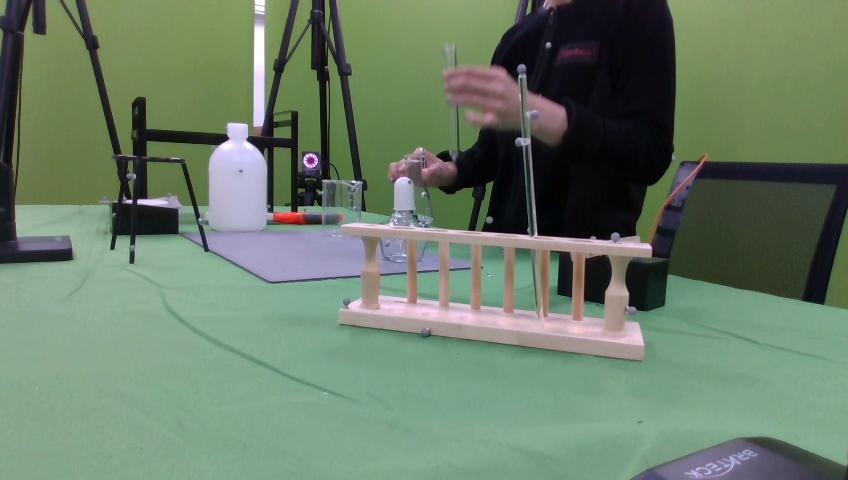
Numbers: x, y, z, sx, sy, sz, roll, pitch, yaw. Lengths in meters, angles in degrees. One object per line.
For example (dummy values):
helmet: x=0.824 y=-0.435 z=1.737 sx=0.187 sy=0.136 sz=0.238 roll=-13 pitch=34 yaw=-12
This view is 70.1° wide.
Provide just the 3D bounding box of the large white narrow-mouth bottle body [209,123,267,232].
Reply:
large white narrow-mouth bottle body: x=-0.340 y=-0.115 z=1.109 sx=0.102 sy=0.194 sz=0.102 roll=2 pitch=8 yaw=0

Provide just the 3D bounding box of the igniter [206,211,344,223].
igniter: x=-0.302 y=-0.048 z=1.249 sx=0.278 sy=0.025 sz=0.057 roll=-2 pitch=-2 yaw=-26

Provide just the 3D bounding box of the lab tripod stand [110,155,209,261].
lab tripod stand: x=-0.361 y=-0.046 z=0.806 sx=0.148 sy=0.131 sz=0.148 roll=2 pitch=5 yaw=0

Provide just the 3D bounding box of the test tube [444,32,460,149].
test tube: x=0.038 y=-0.196 z=0.802 sx=0.017 sy=0.150 sz=0.017 roll=-3 pitch=19 yaw=1

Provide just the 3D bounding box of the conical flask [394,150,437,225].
conical flask: x=-0.015 y=-0.091 z=1.040 sx=0.075 sy=0.122 sz=0.075 roll=0 pitch=16 yaw=0

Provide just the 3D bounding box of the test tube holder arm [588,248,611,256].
test tube holder arm: x=0.180 y=0.007 z=0.611 sx=0.010 sy=0.015 sz=0.088 roll=0 pitch=4 yaw=35

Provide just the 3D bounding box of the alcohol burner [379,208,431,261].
alcohol burner: x=-0.027 y=-0.031 z=0.838 sx=0.078 sy=0.119 sz=0.078 roll=0 pitch=6 yaw=0

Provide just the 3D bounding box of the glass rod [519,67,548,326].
glass rod: x=0.084 y=-0.029 z=0.459 sx=0.008 sy=0.199 sz=0.008 roll=-7 pitch=11 yaw=2

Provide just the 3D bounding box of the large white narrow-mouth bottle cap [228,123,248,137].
large white narrow-mouth bottle cap: x=-0.338 y=-0.199 z=1.097 sx=0.038 sy=0.024 sz=0.037 roll=2 pitch=8 yaw=0

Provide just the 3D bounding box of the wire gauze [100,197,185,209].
wire gauze: x=-0.469 y=-0.062 z=1.008 sx=0.126 sy=0.011 sz=0.121 roll=-2 pitch=8 yaw=-25

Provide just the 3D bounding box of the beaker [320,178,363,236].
beaker: x=-0.145 y=-0.059 z=1.079 sx=0.074 sy=0.100 sz=0.083 roll=-4 pitch=10 yaw=-36

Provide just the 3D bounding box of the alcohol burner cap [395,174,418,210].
alcohol burner cap: x=-0.026 y=-0.067 z=0.833 sx=0.034 sy=0.048 sz=0.034 roll=-2 pitch=12 yaw=1

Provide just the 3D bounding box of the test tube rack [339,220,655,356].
test tube rack: x=0.056 y=0.032 z=0.495 sx=0.242 sy=0.085 sz=0.067 roll=4 pitch=7 yaw=15

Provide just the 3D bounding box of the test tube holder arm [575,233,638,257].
test tube holder arm: x=0.201 y=0.004 z=0.652 sx=0.013 sy=0.015 sz=0.179 roll=0 pitch=4 yaw=34
